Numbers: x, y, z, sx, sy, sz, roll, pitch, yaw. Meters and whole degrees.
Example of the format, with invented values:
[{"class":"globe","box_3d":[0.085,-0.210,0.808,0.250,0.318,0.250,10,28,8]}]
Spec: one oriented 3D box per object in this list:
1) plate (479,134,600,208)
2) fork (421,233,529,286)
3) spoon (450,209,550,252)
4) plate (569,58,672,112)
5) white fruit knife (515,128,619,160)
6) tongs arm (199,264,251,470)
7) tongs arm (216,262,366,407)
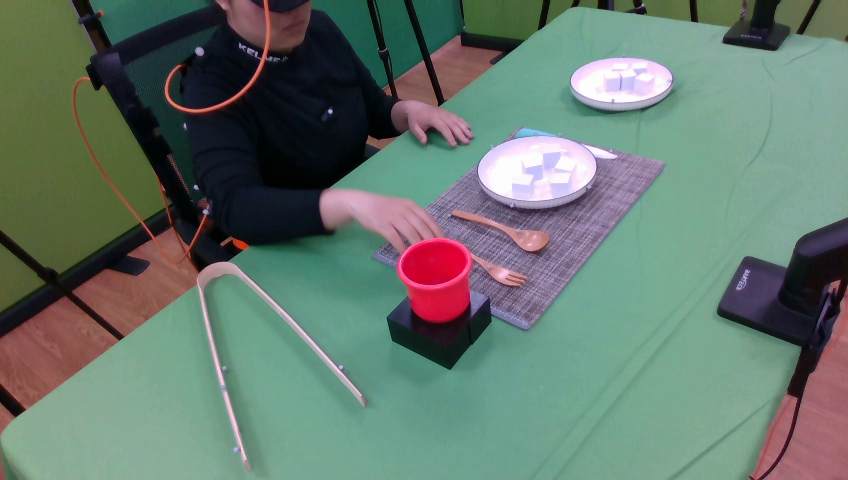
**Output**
[{"class":"plate","box_3d":[0.202,-0.117,1.065,0.207,0.039,0.206,-5,40,5]},{"class":"fork","box_3d":[0.072,0.027,0.933,0.205,0.019,0.028,27,58,33]},{"class":"spoon","box_3d":[0.119,-0.022,0.979,0.192,0.022,0.041,24,68,33]},{"class":"plate","box_3d":[0.411,-0.323,1.274,0.209,0.038,0.208,-5,41,5]},{"class":"white fruit knife","box_3d":[0.269,-0.182,1.148,0.206,0.016,0.027,21,77,29]},{"class":"tongs arm","box_3d":[-0.270,0.154,0.841,0.051,0.026,0.381,-23,41,-17]},{"class":"tongs arm","box_3d":[-0.201,0.122,0.871,0.028,0.028,0.384,-36,46,-24]}]
